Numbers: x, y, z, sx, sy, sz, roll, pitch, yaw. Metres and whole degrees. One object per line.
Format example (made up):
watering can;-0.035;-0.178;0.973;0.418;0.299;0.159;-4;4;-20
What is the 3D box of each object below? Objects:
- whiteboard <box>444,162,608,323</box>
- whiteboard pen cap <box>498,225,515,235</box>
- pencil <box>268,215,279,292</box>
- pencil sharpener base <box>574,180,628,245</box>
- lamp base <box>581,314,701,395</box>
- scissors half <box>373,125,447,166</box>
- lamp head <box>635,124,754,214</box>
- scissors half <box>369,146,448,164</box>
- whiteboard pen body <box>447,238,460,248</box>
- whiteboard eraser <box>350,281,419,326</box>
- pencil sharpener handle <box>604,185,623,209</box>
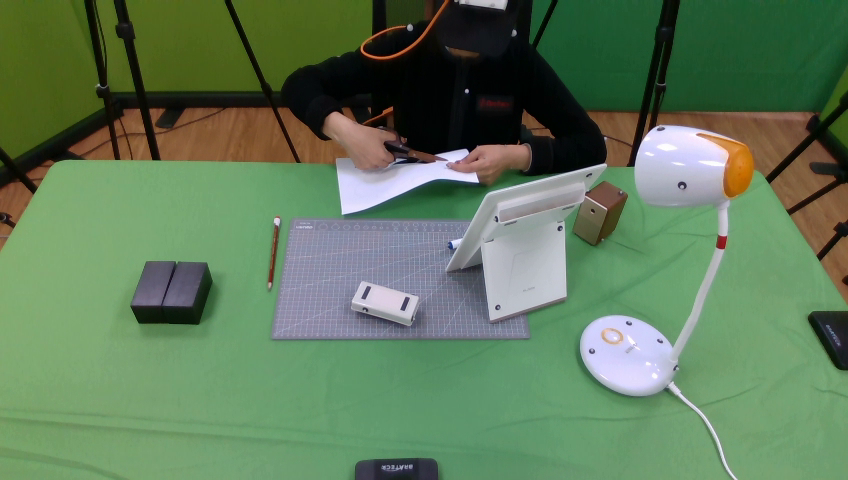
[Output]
whiteboard;0.186;0.025;1.029;0.217;0.306;0.143;-14;68;-17
whiteboard pen cap;0.166;-0.019;1.222;0.033;0.018;0.018;-15;49;-19
pencil;-0.290;0.022;1.164;0.012;0.012;0.192;-2;48;-6
pencil sharpener base;0.356;-0.056;1.217;0.076;0.107;0.061;-33;56;-31
lamp base;0.361;0.145;0.972;0.178;0.181;0.160;34;53;23
scissors half;-0.029;-0.201;1.313;0.175;0.040;0.013;28;32;-5
lamp head;0.351;-0.089;0.775;0.112;0.113;0.122;-30;30;-28
scissors half;-0.033;-0.182;1.324;0.175;0.040;0.012;4;26;9
whiteboard pen body;0.112;-0.005;1.204;0.141;0.017;0.017;-14;49;-18
whiteboard eraser;-0.069;0.113;1.065;0.112;0.042;0.055;14;46;9
pencil sharpener handle;0.390;-0.091;1.235;0.030;0.068;0.036;-34;69;-31
